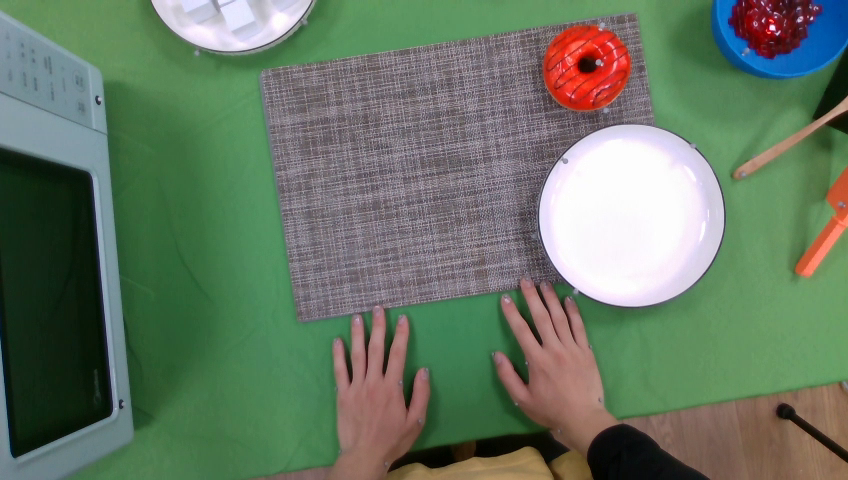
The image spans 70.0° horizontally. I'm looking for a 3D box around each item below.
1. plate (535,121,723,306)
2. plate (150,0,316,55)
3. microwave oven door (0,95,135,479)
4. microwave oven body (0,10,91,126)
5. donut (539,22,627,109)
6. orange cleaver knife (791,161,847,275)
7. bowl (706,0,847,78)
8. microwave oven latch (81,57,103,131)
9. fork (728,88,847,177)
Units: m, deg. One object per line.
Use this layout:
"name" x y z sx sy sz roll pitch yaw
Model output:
"plate" 0.229 -0.029 0.691 0.209 0.038 0.209 0 88 1
"plate" -0.219 -0.316 0.710 0.208 0.039 0.207 0 88 1
"microwave oven door" -0.370 0.049 0.584 0.039 0.244 0.355 -6 88 1
"microwave oven body" -0.520 0.022 0.592 0.326 0.260 0.441 -6 89 0
"donut" 0.181 -0.199 0.693 0.099 0.048 0.099 0 89 3
"orange cleaver knife" 0.471 -0.057 0.670 0.012 0.077 0.212 23 118 0
"bowl" 0.381 -0.248 0.678 0.151 0.077 0.151 0 89 1
"microwave oven latch" -0.388 -0.165 0.691 0.030 0.029 0.079 -5 89 0
"fork" 0.434 -0.134 0.670 0.207 0.018 0.028 -37 94 20
